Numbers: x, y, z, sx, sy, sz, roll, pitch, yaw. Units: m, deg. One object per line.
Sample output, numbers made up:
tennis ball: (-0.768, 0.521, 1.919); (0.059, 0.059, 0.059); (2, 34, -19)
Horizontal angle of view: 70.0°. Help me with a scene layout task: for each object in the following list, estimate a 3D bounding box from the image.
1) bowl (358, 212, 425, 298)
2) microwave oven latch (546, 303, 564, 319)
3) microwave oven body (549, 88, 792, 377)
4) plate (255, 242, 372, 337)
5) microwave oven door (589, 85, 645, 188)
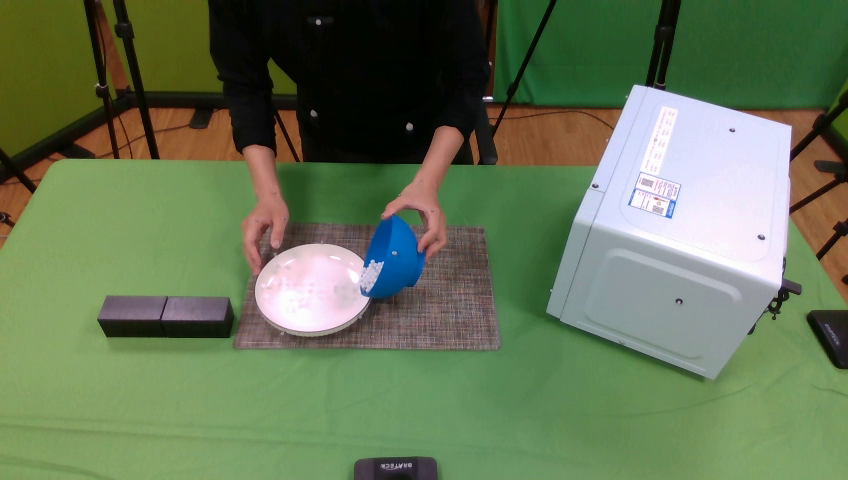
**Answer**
bowl: (-0.049, 0.035, 1.035); (0.077, 0.152, 0.150); (19, 43, -17)
microwave oven latch: (0.242, 0.102, 1.081); (0.030, 0.029, 0.079); (21, 48, 17)
microwave oven body: (0.456, -0.028, 1.087); (0.325, 0.261, 0.440); (20, 47, 16)
plate: (-0.192, 0.090, 1.080); (0.208, 0.039, 0.206); (2, 46, -2)
microwave oven door: (0.342, -0.107, 1.148); (0.039, 0.245, 0.354); (20, 48, 15)
